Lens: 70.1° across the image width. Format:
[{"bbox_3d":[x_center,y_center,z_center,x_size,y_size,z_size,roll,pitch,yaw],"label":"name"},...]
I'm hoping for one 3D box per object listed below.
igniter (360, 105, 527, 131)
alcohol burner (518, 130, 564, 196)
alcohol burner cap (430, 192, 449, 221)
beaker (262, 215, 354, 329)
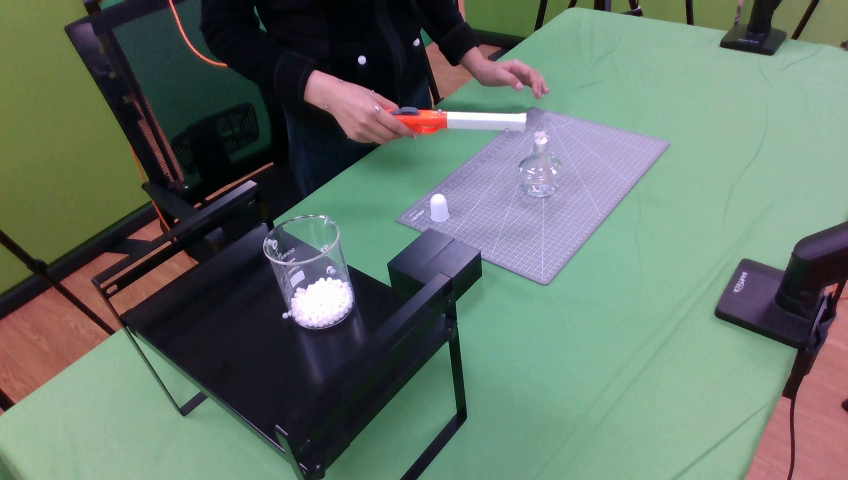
[{"bbox_3d":[0.028,-0.198,0.992,0.276,0.057,0.025,3,62,6],"label":"igniter"},{"bbox_3d":[0.199,-0.135,1.027,0.078,0.119,0.077,-5,42,5],"label":"alcohol burner"},{"bbox_3d":[0.025,-0.059,1.020,0.034,0.048,0.033,-4,41,4],"label":"alcohol burner cap"},{"bbox_3d":[-0.112,0.034,0.616,0.073,0.101,0.084,13,44,23],"label":"beaker"}]
